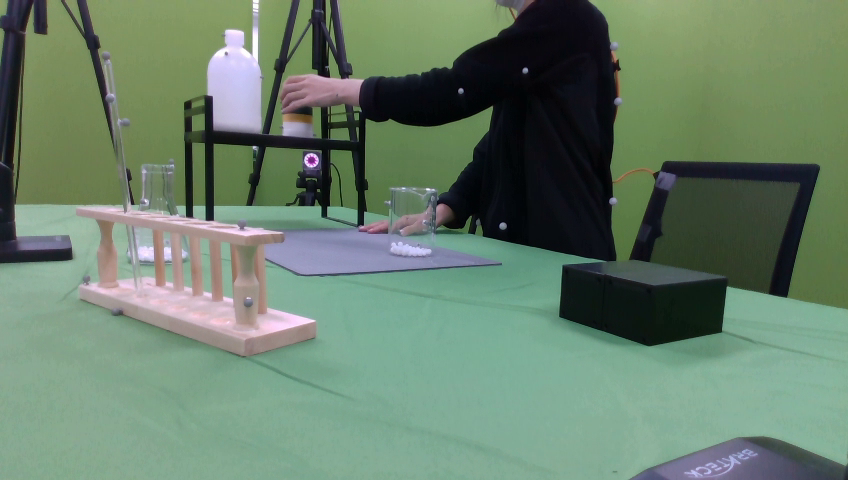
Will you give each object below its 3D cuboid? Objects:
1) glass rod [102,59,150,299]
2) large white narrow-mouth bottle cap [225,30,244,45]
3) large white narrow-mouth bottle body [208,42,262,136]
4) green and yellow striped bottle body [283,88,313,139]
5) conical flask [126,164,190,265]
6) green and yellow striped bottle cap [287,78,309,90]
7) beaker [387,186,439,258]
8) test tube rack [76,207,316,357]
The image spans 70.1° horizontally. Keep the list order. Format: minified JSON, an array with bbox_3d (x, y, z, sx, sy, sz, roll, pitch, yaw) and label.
[{"bbox_3d":[-0.243,-0.045,0.496,0.008,0.199,0.008,-4,13,1],"label":"glass rod"},{"bbox_3d":[-0.365,-0.390,1.166,0.038,0.024,0.037,2,9,0],"label":"large white narrow-mouth bottle cap"},{"bbox_3d":[-0.369,-0.303,1.180,0.102,0.194,0.101,2,9,0],"label":"large white narrow-mouth bottle body"},{"bbox_3d":[-0.266,-0.275,1.275,0.063,0.119,0.063,3,8,0],"label":"green and yellow striped bottle body"},{"bbox_3d":[-0.332,-0.033,0.756,0.075,0.122,0.075,2,7,0],"label":"conical flask"},{"bbox_3d":[-0.265,-0.326,1.268,0.045,0.020,0.045,5,6,0],"label":"green and yellow striped bottle cap"},{"bbox_3d":[-0.015,-0.027,0.885,0.074,0.100,0.083,-1,9,-20],"label":"beaker"},{"bbox_3d":[-0.196,0.023,0.500,0.241,0.085,0.067,8,9,36],"label":"test tube rack"}]
